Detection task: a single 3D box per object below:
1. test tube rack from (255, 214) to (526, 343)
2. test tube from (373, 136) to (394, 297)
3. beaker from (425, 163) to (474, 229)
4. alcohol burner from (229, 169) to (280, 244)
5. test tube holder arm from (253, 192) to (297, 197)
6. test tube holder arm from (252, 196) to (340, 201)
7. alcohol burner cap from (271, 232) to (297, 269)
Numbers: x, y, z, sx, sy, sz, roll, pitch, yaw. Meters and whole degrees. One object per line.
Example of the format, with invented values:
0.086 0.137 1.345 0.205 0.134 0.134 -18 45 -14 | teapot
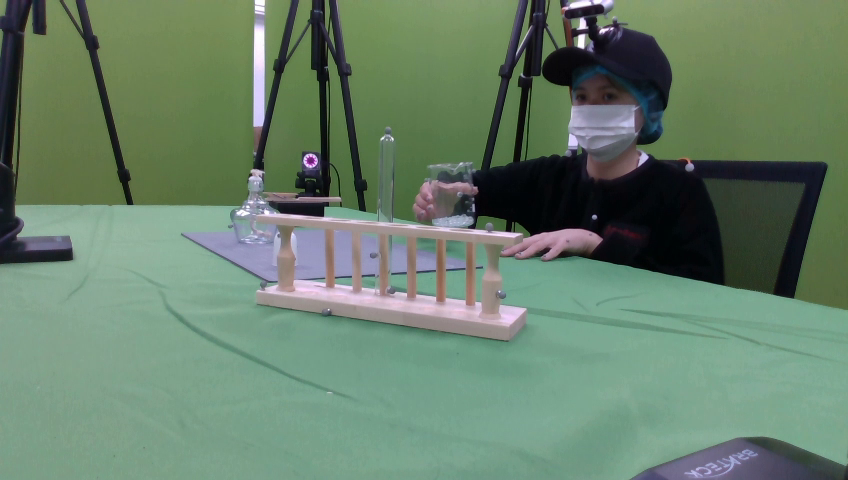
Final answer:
-0.032 0.027 0.546 0.241 0.085 0.067 5 7 21 | test tube rack
-0.038 -0.021 0.564 0.017 0.150 0.017 2 6 0 | test tube
0.043 -0.070 0.962 0.074 0.100 0.084 -6 9 -6 | beaker
-0.268 -0.053 0.958 0.078 0.119 0.078 2 6 0 | alcohol burner
-0.301 -0.092 1.223 0.088 0.010 0.015 0 7 -25 | test tube holder arm
-0.260 -0.086 1.242 0.179 0.013 0.015 -1 7 -25 | test tube holder arm
-0.175 0.012 0.760 0.034 0.048 0.034 2 8 0 | alcohol burner cap
